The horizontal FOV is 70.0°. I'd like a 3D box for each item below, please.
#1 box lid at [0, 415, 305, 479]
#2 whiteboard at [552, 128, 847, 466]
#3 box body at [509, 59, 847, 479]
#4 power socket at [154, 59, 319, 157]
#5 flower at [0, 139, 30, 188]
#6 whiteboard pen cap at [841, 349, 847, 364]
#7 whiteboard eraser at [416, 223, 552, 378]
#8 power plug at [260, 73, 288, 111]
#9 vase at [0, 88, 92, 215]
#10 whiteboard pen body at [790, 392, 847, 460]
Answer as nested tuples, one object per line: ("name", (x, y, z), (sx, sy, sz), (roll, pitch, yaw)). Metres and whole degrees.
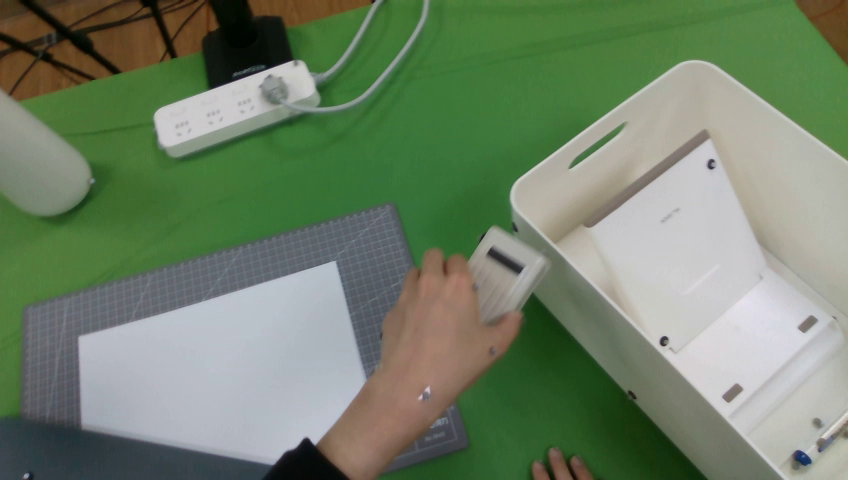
("box lid", (-0.311, 0.319, 0.565), (0.371, 0.015, 0.261), (7, 64, 8))
("whiteboard", (0.277, 0.037, 0.580), (0.217, 0.145, 0.303), (-36, 64, -15))
("box body", (0.281, 0.042, 0.565), (0.254, 0.162, 0.361), (-36, 65, -13))
("power socket", (-0.246, -0.175, 0.799), (0.227, 0.033, 0.071), (-21, 64, -6))
("flower", (-0.464, -0.147, 0.619), (0.038, 0.363, 0.044), (31, 60, 1))
("whiteboard pen cap", (0.424, 0.109, 0.591), (0.033, 0.018, 0.018), (-33, 64, -11))
("whiteboard eraser", (0.047, 0.046, 0.471), (0.055, 0.042, 0.112), (32, 87, 24))
("power plug", (-0.189, -0.180, 0.771), (0.035, 0.053, 0.072), (-12, 69, -1))
("vase", (-0.477, -0.111, 0.694), (0.098, 0.202, 0.097), (-3, 62, 6))
("whiteboard pen body", (0.397, 0.159, 0.572), (0.141, 0.017, 0.017), (-35, 64, -13))
